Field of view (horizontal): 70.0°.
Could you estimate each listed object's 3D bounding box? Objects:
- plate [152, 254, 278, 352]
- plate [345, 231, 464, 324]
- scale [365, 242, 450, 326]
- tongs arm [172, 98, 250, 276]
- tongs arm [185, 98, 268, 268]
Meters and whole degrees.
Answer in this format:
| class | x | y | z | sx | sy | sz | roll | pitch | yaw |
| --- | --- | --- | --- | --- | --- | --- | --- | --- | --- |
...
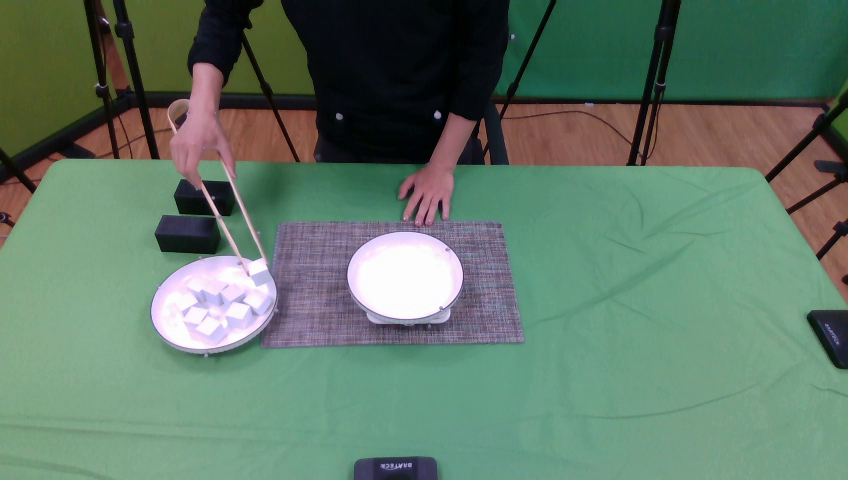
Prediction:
| class | x | y | z | sx | sy | sz | roll | pitch | yaw |
| --- | --- | --- | --- | --- | --- | --- | --- | --- | --- |
| plate | -0.357 | 0.111 | 1.052 | 0.208 | 0.039 | 0.206 | 2 | 46 | -2 |
| plate | -0.034 | 0.069 | 1.069 | 0.209 | 0.038 | 0.208 | 2 | 46 | -2 |
| scale | -0.032 | 0.071 | 1.113 | 0.149 | 0.032 | 0.199 | 0 | 46 | -4 |
| tongs arm | -0.379 | -0.104 | 1.096 | 0.051 | 0.026 | 0.383 | -29 | 70 | -13 |
| tongs arm | -0.359 | -0.112 | 1.101 | 0.028 | 0.028 | 0.385 | -26 | 69 | -8 |
